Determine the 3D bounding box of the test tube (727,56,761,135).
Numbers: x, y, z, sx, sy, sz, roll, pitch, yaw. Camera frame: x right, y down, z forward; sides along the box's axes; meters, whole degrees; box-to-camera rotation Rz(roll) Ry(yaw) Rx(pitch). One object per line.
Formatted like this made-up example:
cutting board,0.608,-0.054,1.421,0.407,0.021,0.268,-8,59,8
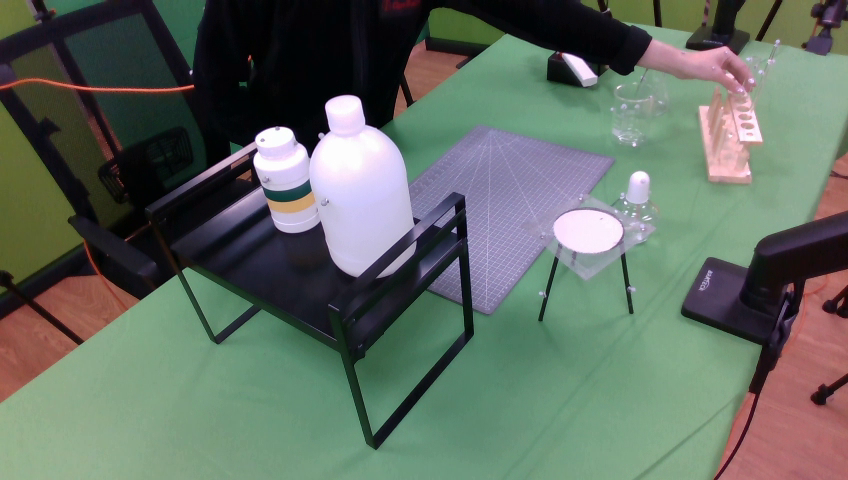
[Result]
test tube,0.562,-0.252,1.066,0.017,0.151,0.017,-2,42,2

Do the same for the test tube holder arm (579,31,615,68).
test tube holder arm,0.384,-0.428,1.351,0.013,0.015,0.177,-10,41,-4

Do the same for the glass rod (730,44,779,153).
glass rod,0.556,-0.233,1.020,0.008,0.200,0.008,2,39,-1

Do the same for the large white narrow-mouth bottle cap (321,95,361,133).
large white narrow-mouth bottle cap,-0.081,-0.123,0.590,0.037,0.024,0.037,-6,40,5

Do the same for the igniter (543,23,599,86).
igniter,0.320,-0.419,1.344,0.057,0.025,0.274,-12,44,-3

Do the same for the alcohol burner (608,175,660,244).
alcohol burner,0.323,-0.053,0.924,0.078,0.119,0.077,-4,43,4

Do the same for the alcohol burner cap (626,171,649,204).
alcohol burner cap,0.320,-0.081,0.900,0.034,0.048,0.033,-4,42,4

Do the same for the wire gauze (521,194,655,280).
wire gauze,0.207,-0.012,0.772,0.122,0.011,0.124,-28,44,-20

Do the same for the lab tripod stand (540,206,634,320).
lab tripod stand,0.218,0.034,0.821,0.148,0.132,0.147,-4,42,4

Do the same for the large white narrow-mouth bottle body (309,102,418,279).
large white narrow-mouth bottle body,-0.068,-0.057,0.644,0.102,0.195,0.101,-6,40,5

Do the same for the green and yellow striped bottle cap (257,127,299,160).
green and yellow striped bottle cap,-0.169,-0.112,0.699,0.045,0.020,0.045,-5,41,5

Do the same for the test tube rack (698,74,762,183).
test tube rack,0.547,-0.208,1.094,0.066,0.085,0.242,6,42,15

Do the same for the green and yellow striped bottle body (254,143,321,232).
green and yellow striped bottle body,-0.165,-0.073,0.732,0.063,0.120,0.063,-4,41,4

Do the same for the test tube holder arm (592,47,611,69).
test tube holder arm,0.386,-0.398,1.317,0.010,0.015,0.087,-9,41,-3

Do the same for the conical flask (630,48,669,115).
conical flask,0.457,-0.317,1.205,0.075,0.122,0.075,-4,41,4

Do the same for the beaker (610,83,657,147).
beaker,0.388,-0.234,1.138,0.074,0.101,0.083,-31,45,-25
